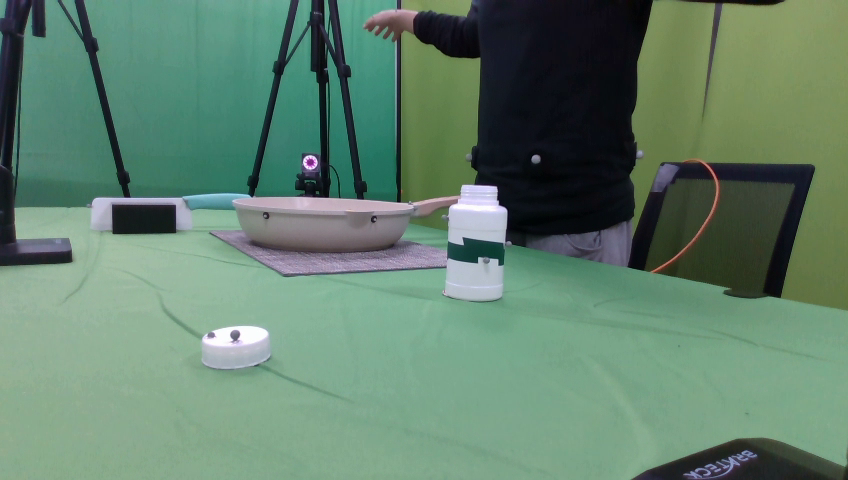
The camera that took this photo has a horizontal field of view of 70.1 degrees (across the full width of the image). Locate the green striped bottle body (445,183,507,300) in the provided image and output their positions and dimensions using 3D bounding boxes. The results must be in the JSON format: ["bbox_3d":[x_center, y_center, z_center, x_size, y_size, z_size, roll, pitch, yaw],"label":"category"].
[{"bbox_3d":[0.055,0.000,0.644,0.063,0.119,0.063,2,7,0],"label":"green striped bottle body"}]

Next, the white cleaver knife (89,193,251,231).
[{"bbox_3d":[-0.454,-0.052,1.114,0.288,0.066,0.021,-4,15,-27],"label":"white cleaver knife"}]

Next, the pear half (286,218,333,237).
[{"bbox_3d":[-0.197,-0.022,1.054,0.070,0.031,0.088,16,18,43],"label":"pear half"}]

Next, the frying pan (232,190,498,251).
[{"bbox_3d":[-0.073,-0.051,1.048,0.490,0.102,0.305,-11,13,-27],"label":"frying pan"}]

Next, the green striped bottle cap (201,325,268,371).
[{"bbox_3d":[-0.129,0.073,0.415,0.044,0.020,0.044,3,7,0],"label":"green striped bottle cap"}]

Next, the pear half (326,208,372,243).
[{"bbox_3d":[-0.128,-0.026,1.017,0.076,0.056,0.109,6,4,-19],"label":"pear half"}]
